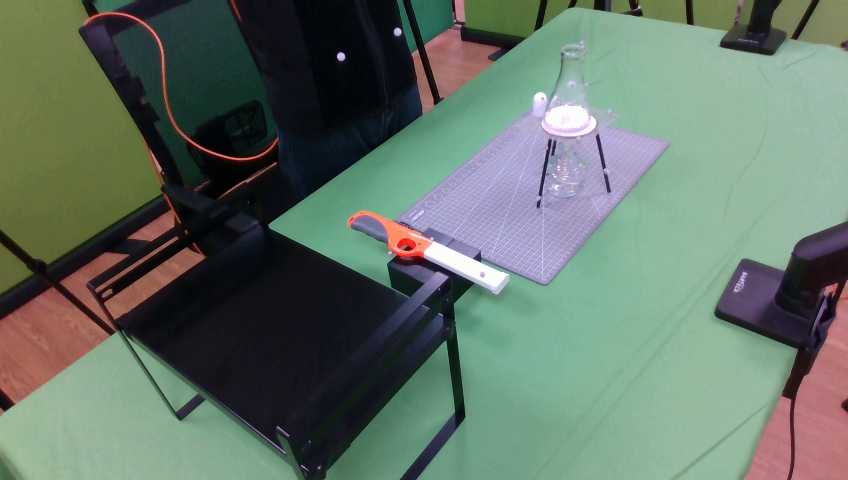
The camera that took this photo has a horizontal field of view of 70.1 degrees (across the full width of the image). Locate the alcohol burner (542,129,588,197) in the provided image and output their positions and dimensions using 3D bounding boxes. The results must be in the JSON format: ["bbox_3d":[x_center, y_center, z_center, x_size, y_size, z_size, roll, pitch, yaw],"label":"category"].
[{"bbox_3d":[0.239,-0.133,1.021,0.078,0.119,0.077,-4,38,4],"label":"alcohol burner"}]

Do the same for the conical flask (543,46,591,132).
[{"bbox_3d":[0.224,-0.234,0.932,0.075,0.122,0.075,-3,41,3],"label":"conical flask"}]

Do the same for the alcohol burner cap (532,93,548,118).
[{"bbox_3d":[0.240,-0.281,1.250,0.034,0.048,0.033,-4,42,4],"label":"alcohol burner cap"}]

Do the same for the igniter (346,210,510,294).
[{"bbox_3d":[-0.002,0.012,0.884,0.274,0.025,0.057,24,53,28],"label":"igniter"}]

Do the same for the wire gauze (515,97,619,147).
[{"bbox_3d":[0.229,-0.189,0.970,0.120,0.011,0.125,25,51,34],"label":"wire gauze"}]

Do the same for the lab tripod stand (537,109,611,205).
[{"bbox_3d":[0.244,-0.141,1.014,0.148,0.132,0.147,-3,39,3],"label":"lab tripod stand"}]
